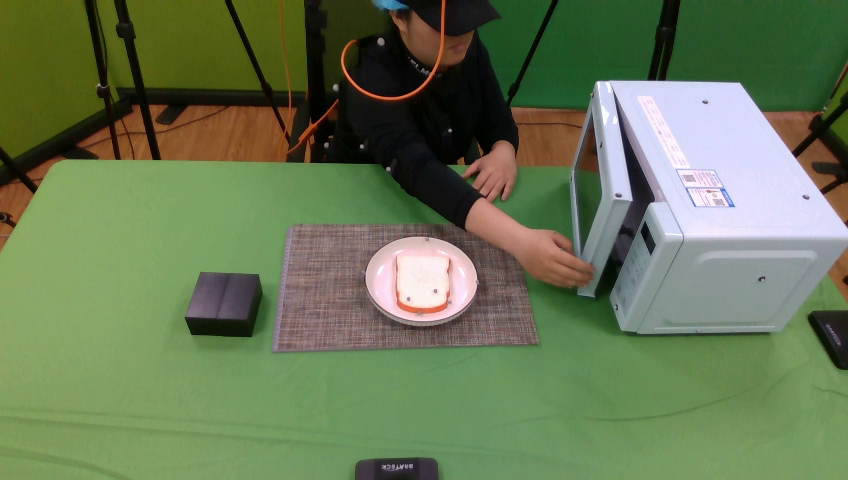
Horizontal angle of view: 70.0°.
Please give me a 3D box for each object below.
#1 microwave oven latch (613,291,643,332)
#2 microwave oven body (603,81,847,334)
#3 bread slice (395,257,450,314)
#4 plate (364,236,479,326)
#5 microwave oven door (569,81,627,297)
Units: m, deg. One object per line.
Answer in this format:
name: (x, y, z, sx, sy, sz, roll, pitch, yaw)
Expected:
microwave oven latch: (0.357, 0.124, 1.068, 0.030, 0.029, 0.078, 1, 45, -2)
microwave oven body: (0.501, -0.070, 1.132, 0.326, 0.261, 0.438, -1, 45, -4)
bread slice: (-0.001, 0.079, 1.109, 0.105, 0.019, 0.130, 1, 45, -2)
plate: (-0.004, 0.078, 1.107, 0.209, 0.038, 0.208, 2, 46, -2)
microwave oven door: (0.324, -0.105, 1.147, 0.039, 0.245, 0.354, 7, 46, 3)
